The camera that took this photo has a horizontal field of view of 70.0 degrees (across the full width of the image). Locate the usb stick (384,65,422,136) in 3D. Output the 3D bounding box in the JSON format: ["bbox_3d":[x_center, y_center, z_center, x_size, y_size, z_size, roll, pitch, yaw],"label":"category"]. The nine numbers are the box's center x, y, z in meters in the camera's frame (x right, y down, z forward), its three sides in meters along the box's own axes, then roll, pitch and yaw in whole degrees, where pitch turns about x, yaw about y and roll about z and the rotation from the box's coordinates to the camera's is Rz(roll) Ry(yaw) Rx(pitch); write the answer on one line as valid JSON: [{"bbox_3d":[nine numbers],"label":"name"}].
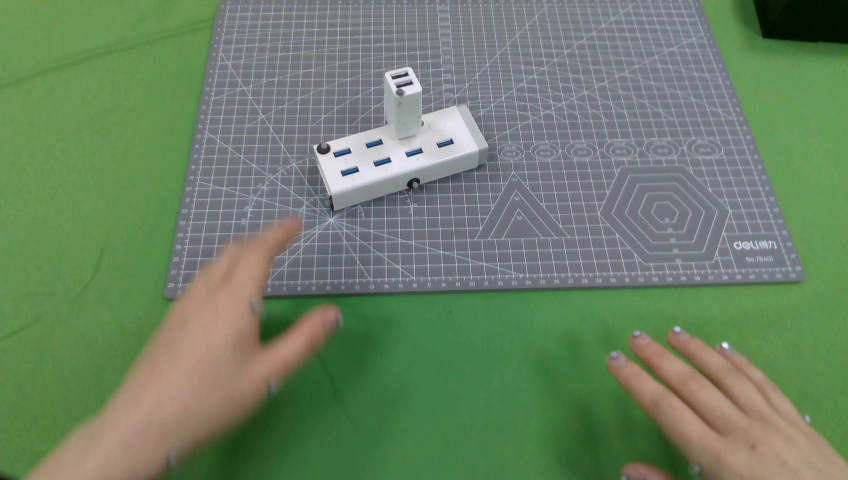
[{"bbox_3d":[-0.016,-0.096,0.443,0.021,0.059,0.027,-17,59,-13],"label":"usb stick"}]

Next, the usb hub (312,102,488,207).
[{"bbox_3d":[-0.018,-0.067,0.461,0.125,0.025,0.049,-17,62,-12],"label":"usb hub"}]
